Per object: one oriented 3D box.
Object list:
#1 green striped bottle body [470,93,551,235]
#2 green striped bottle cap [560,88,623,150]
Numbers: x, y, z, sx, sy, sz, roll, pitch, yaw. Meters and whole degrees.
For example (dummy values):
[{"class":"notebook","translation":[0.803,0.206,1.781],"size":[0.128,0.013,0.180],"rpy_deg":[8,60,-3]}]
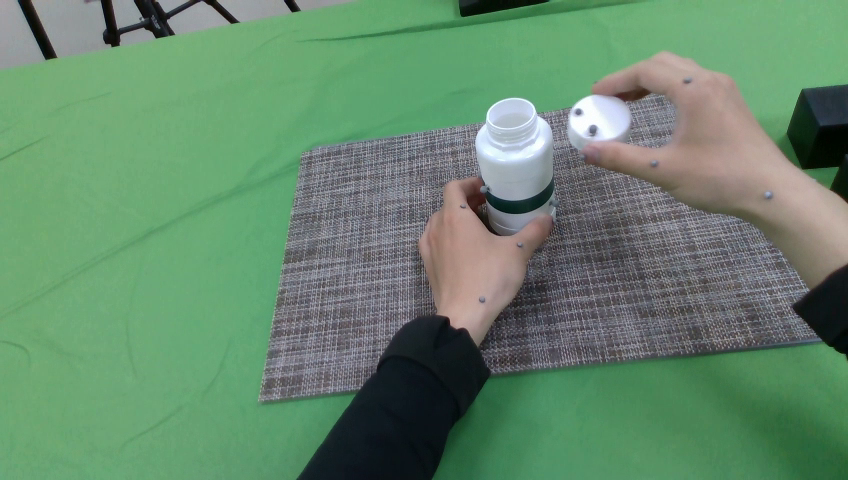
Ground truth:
[{"class":"green striped bottle body","translation":[0.074,-0.064,0.514],"size":[0.063,0.120,0.062],"rpy_deg":[-7,50,8]},{"class":"green striped bottle cap","translation":[0.122,-0.088,0.440],"size":[0.044,0.020,0.044],"rpy_deg":[-4,62,7]}]
